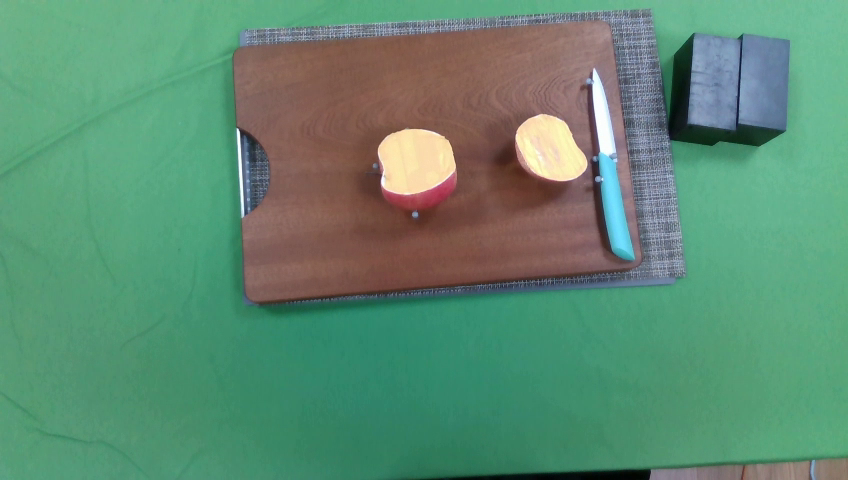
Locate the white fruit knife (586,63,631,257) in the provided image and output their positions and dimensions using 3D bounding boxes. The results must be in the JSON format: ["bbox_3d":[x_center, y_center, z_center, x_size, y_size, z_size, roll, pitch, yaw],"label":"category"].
[{"bbox_3d":[0.184,-0.084,0.621,0.027,0.016,0.206,-1,79,-30],"label":"white fruit knife"}]

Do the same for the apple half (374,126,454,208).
[{"bbox_3d":[-0.009,-0.066,0.591,0.075,0.054,0.080,-14,59,0],"label":"apple half"}]

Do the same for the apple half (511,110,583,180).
[{"bbox_3d":[0.116,-0.088,0.606,0.082,0.033,0.080,9,64,-19],"label":"apple half"}]
